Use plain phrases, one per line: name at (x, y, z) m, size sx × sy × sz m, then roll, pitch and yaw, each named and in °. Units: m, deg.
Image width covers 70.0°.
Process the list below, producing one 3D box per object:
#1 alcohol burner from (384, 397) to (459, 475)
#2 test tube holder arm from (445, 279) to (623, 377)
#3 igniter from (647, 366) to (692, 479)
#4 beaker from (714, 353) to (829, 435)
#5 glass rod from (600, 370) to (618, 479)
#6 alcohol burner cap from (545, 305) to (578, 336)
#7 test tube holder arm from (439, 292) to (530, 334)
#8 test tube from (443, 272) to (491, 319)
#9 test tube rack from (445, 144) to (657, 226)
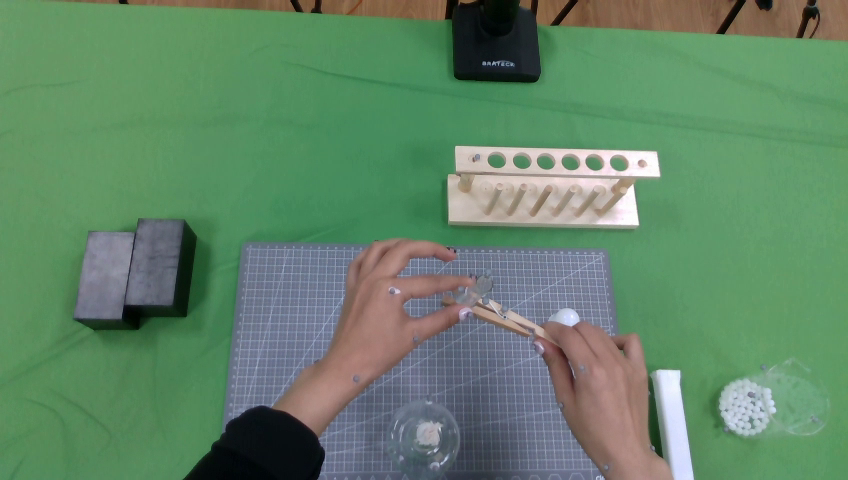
alcohol burner at (-0.001, 0.196, 0.613) m, size 0.078 × 0.120 × 0.077 m, roll 2°, pitch 67°, yaw -4°
test tube holder arm at (0.100, 0.081, 0.557) m, size 0.178 × 0.015 × 0.013 m, roll 26°, pitch 77°, yaw 4°
igniter at (0.277, 0.277, 0.658) m, size 0.057 × 0.025 × 0.274 m, roll 5°, pitch 69°, yaw -14°
beaker at (0.376, 0.173, 0.667) m, size 0.074 × 0.101 × 0.083 m, roll 14°, pitch 68°, yaw 0°
glass rod at (0.209, 0.244, 0.671) m, size 0.008 × 0.008 × 0.198 m, roll 1°, pitch 70°, yaw -5°
alcohol burner cap at (0.163, 0.093, 0.705) m, size 0.034 × 0.048 × 0.033 m, roll 2°, pitch 70°, yaw -4°
test tube holder arm at (0.057, 0.068, 0.558) m, size 0.088 × 0.015 × 0.010 m, roll 19°, pitch 76°, yaw 2°
test tube at (0.036, 0.054, 0.560) m, size 0.017 × 0.150 × 0.017 m, roll 2°, pitch 73°, yaw -8°
test tube rack at (0.151, -0.065, 0.742) m, size 0.243 × 0.085 × 0.066 m, roll 1°, pitch 69°, yaw -5°
